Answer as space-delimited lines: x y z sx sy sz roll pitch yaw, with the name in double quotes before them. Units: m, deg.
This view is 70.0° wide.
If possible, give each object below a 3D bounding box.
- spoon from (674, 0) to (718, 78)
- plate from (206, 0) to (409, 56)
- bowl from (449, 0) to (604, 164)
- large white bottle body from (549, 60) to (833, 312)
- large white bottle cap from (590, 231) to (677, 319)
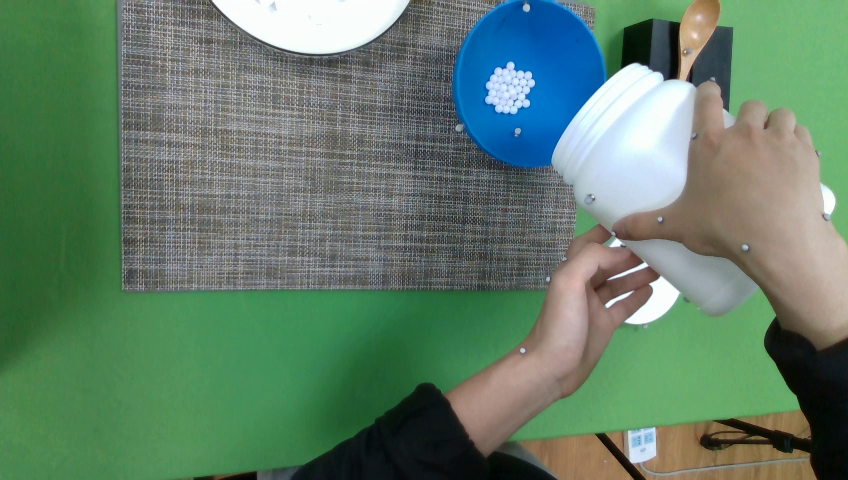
"spoon" 0.254 -0.154 0.621 0.042 0.021 0.194 13 99 -21
"plate" -0.105 -0.264 0.528 0.210 0.038 0.209 -2 95 -18
"bowl" 0.087 -0.148 0.583 0.152 0.076 0.151 -2 98 -17
"large white bottle body" 0.205 -0.047 0.492 0.130 0.131 0.183 -43 73 -7
"large white bottle cap" 0.245 0.035 0.695 0.115 0.018 0.115 -3 99 -18
